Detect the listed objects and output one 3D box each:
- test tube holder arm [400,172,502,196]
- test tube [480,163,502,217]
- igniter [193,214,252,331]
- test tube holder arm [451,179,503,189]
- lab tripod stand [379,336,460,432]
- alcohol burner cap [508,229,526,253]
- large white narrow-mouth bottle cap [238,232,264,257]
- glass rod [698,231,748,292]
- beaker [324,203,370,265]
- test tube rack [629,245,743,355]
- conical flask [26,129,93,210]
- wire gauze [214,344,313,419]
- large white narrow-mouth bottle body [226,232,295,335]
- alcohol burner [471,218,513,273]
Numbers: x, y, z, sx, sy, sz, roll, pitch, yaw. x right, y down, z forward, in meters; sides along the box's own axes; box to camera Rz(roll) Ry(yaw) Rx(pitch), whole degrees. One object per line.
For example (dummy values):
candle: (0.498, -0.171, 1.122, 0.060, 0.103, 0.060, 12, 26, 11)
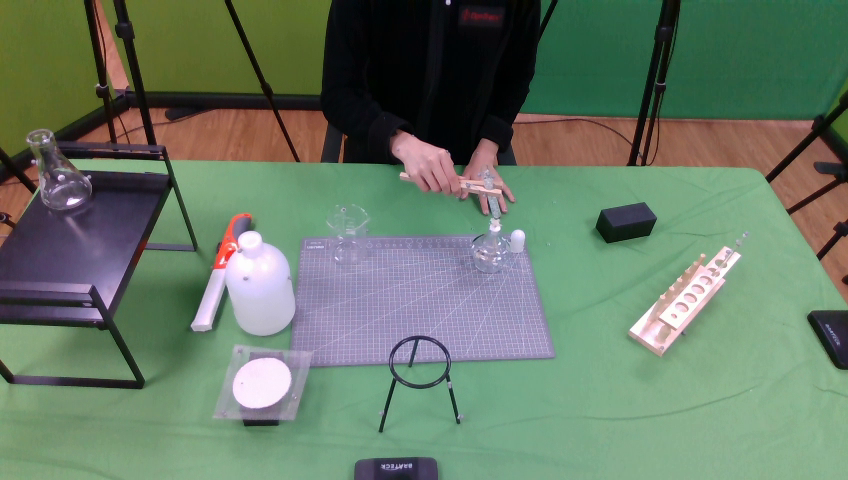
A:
test tube holder arm: (0.044, -0.095, 1.020, 0.178, 0.015, 0.013, 10, 62, 14)
test tube: (0.114, -0.081, 1.018, 0.017, 0.151, 0.017, -7, 60, 13)
igniter: (-0.368, 0.050, 1.119, 0.057, 0.025, 0.275, -3, 46, 8)
test tube holder arm: (0.089, -0.094, 1.013, 0.088, 0.015, 0.010, 3, 61, 10)
lab tripod stand: (-0.011, 0.214, 0.911, 0.148, 0.132, 0.147, 1, 45, 0)
alcohol burner cap: (0.185, -0.002, 1.192, 0.034, 0.048, 0.033, 3, 44, -2)
large white narrow-mouth bottle cap: (-0.266, 0.007, 0.933, 0.038, 0.024, 0.037, 2, 46, -2)
glass rod: (0.514, 0.044, 1.051, 0.008, 0.200, 0.008, 1, 55, -1)
beaker: (-0.142, -0.009, 1.137, 0.084, 0.101, 0.073, -3, 47, -7)
test tube rack: (0.474, 0.095, 1.091, 0.242, 0.085, 0.066, -34, 56, -31)
conical flask: (-0.575, -0.113, 0.946, 0.075, 0.122, 0.075, 2, 46, -2)
wire gauze: (-0.241, 0.213, 0.915, 0.121, 0.011, 0.124, 5, 46, 1)
large white narrow-mouth bottle body: (-0.270, 0.065, 0.995, 0.102, 0.195, 0.101, 2, 46, -2)
alcohol burner: (0.128, 0.005, 1.132, 0.078, 0.120, 0.077, 0, 47, 0)
